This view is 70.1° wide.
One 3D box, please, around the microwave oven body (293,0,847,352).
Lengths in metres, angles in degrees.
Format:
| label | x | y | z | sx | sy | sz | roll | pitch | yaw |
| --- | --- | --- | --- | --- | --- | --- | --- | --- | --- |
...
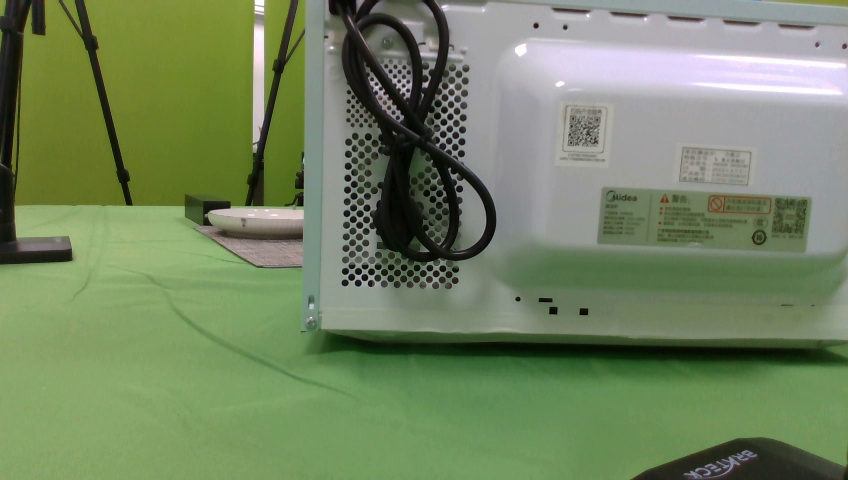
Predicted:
| label | x | y | z | sx | sy | sz | roll | pitch | yaw |
| --- | --- | --- | --- | --- | --- | --- | --- | --- | --- |
| microwave oven body | 0.122 | -0.055 | 0.550 | 0.442 | 0.260 | 0.325 | 3 | 7 | -5 |

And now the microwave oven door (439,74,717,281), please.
| label | x | y | z | sx | sy | sz | roll | pitch | yaw |
| --- | --- | --- | --- | --- | --- | --- | --- | --- | --- |
| microwave oven door | 0.183 | -0.089 | 0.801 | 0.354 | 0.243 | 0.039 | 7 | 9 | 32 |

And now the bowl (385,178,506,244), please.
| label | x | y | z | sx | sy | sz | roll | pitch | yaw |
| --- | --- | --- | --- | --- | --- | --- | --- | --- | --- |
| bowl | 0.029 | -0.037 | 0.762 | 0.151 | 0.077 | 0.151 | -2 | 5 | 1 |

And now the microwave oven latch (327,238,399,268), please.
| label | x | y | z | sx | sy | sz | roll | pitch | yaw |
| --- | --- | --- | --- | --- | --- | --- | --- | --- | --- |
| microwave oven latch | -0.069 | 0.015 | 0.694 | 0.079 | 0.029 | 0.030 | 3 | 7 | -3 |

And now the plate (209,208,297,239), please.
| label | x | y | z | sx | sy | sz | roll | pitch | yaw |
| --- | --- | --- | --- | --- | --- | --- | --- | --- | --- |
| plate | -0.271 | -0.029 | 1.073 | 0.208 | 0.039 | 0.207 | 3 | 7 | 0 |
